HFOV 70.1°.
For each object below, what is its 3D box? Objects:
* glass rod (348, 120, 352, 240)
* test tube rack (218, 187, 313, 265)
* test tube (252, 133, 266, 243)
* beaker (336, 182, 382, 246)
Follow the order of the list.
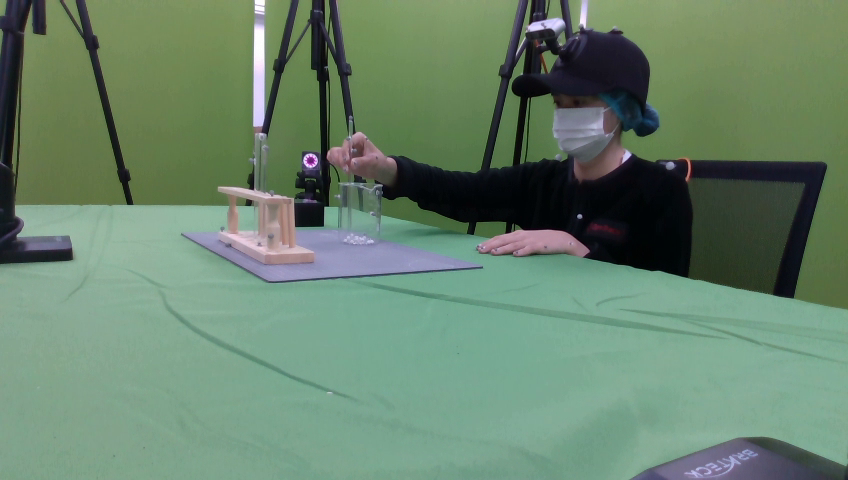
[{"bbox_3d":[-0.124,-0.098,1.004,0.008,0.199,0.008,2,10,0],"label":"glass rod"},{"bbox_3d":[-0.235,-0.027,0.872,0.067,0.085,0.241,-2,8,-32],"label":"test tube rack"},{"bbox_3d":[-0.225,-0.070,0.826,0.017,0.150,0.017,2,2,0],"label":"test tube"},{"bbox_3d":[-0.107,-0.043,0.996,0.074,0.100,0.083,-2,10,-29],"label":"beaker"}]
